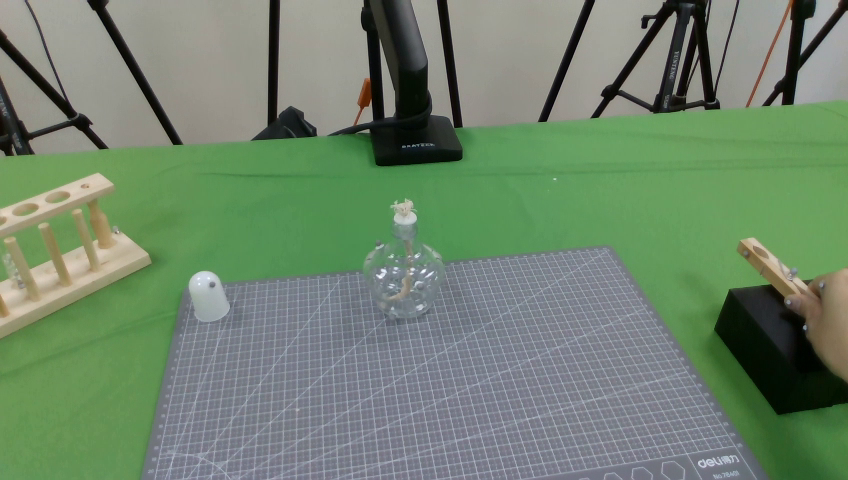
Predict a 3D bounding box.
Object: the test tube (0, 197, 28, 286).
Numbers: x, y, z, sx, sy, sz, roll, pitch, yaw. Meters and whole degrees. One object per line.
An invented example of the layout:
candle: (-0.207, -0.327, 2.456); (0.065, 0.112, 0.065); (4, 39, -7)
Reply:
test tube: (-0.388, -0.022, 0.550); (0.017, 0.151, 0.017); (0, 30, 1)

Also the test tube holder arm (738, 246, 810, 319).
test tube holder arm: (0.315, 0.036, 0.542); (0.010, 0.015, 0.087); (-18, 40, -6)

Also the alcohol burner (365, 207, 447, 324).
alcohol burner: (-0.016, 0.019, 0.557); (0.078, 0.120, 0.077); (2, 38, -1)

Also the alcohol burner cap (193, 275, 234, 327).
alcohol burner cap: (-0.198, 0.054, 0.567); (0.034, 0.048, 0.033); (1, 37, -1)

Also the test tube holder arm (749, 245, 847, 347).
test tube holder arm: (0.332, 0.061, 0.509); (0.013, 0.015, 0.176); (-18, 40, -6)

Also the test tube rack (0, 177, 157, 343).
test tube rack: (-0.387, 0.033, 0.559); (0.066, 0.086, 0.242); (29, 44, 33)
